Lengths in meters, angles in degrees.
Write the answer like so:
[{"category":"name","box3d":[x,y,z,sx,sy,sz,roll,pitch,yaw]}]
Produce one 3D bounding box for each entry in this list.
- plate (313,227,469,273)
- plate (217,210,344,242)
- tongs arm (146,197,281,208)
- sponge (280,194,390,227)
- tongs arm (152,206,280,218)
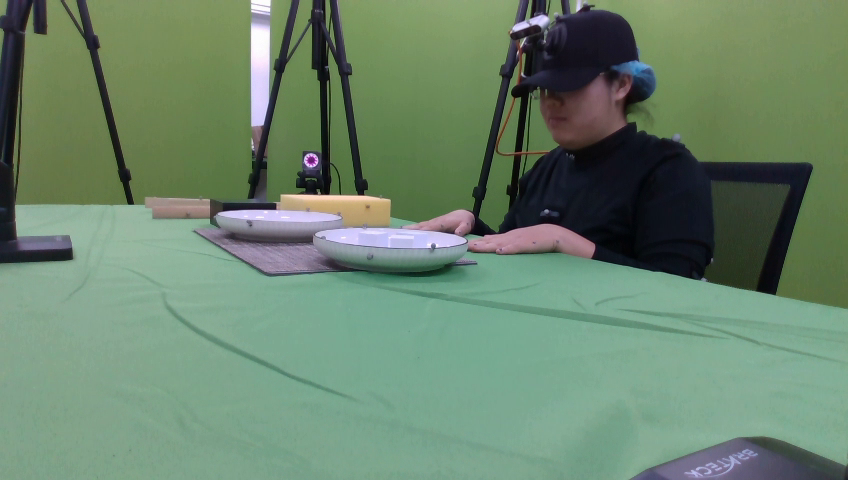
[{"category":"plate","box3d":[-0.044,0.012,0.807,0.209,0.038,0.209,2,7,0]},{"category":"plate","box3d":[-0.241,-0.024,1.026,0.208,0.039,0.207,3,7,0]},{"category":"tongs arm","box3d":[-0.437,-0.079,1.415,0.387,0.026,0.050,1,8,-25]},{"category":"sponge","box3d":[-0.189,-0.063,1.291,0.208,0.061,0.117,-2,9,-35]},{"category":"tongs arm","box3d":[-0.397,-0.064,1.345,0.390,0.028,0.028,-3,7,-38]}]
